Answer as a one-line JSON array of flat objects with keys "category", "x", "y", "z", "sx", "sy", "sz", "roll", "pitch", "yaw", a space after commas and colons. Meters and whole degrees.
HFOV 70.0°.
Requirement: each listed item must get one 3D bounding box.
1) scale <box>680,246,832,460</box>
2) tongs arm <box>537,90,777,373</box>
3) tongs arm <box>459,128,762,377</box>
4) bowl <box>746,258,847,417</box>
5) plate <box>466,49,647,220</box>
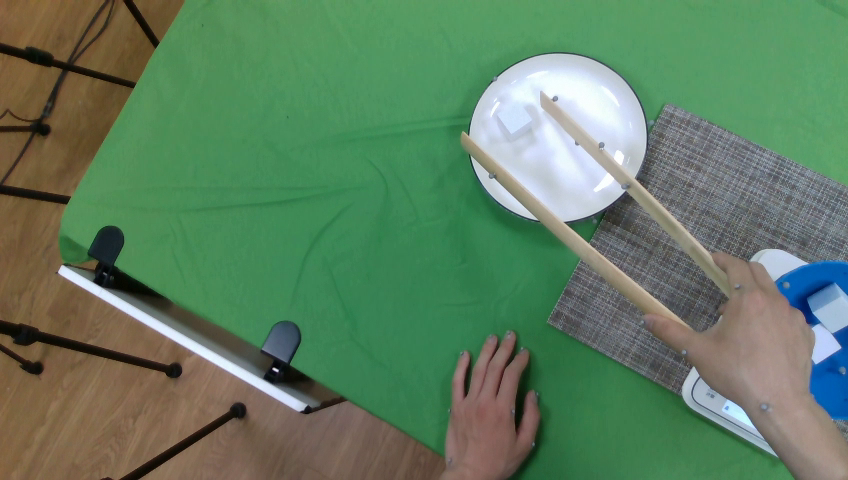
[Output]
[{"category": "scale", "x": 0.389, "y": 0.121, "z": 0.658, "sx": 0.148, "sy": 0.032, "sz": 0.200, "roll": 29, "pitch": 87, "yaw": 10}, {"category": "tongs arm", "x": 0.207, "y": -0.033, "z": 0.611, "sx": 0.051, "sy": 0.027, "sz": 0.380, "roll": -26, "pitch": 54, "yaw": -13}, {"category": "tongs arm", "x": 0.154, "y": -0.005, "z": 0.598, "sx": 0.028, "sy": 0.028, "sz": 0.383, "roll": -30, "pitch": 55, "yaw": -20}, {"category": "bowl", "x": 0.392, "y": 0.096, "z": 0.608, "sx": 0.151, "sy": 0.077, "sz": 0.151, "roll": -1, "pitch": 83, "yaw": 7}, {"category": "plate", "x": 0.155, "y": -0.123, "z": 0.723, "sx": 0.207, "sy": 0.039, "sz": 0.207, "roll": -1, "pitch": 82, "yaw": 7}]
